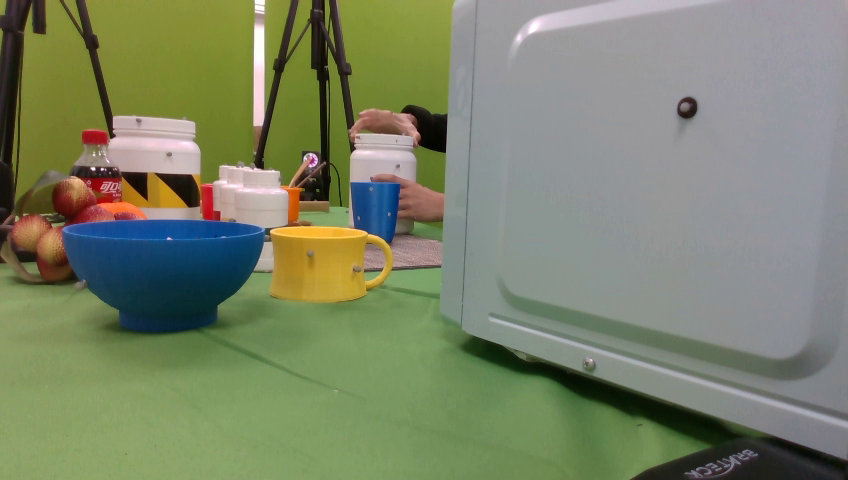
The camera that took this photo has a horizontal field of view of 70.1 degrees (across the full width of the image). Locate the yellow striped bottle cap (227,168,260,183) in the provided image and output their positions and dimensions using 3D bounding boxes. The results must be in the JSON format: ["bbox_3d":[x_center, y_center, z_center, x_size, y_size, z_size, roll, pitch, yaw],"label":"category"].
[{"bbox_3d":[-0.243,-0.087,0.818,0.044,0.018,0.044,3,6,0],"label":"yellow striped bottle cap"}]

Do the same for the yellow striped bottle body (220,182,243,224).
[{"bbox_3d":[-0.245,-0.036,0.825,0.063,0.120,0.063,3,8,0],"label":"yellow striped bottle body"}]

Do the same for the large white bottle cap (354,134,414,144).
[{"bbox_3d":[-0.077,-0.193,1.162,0.115,0.018,0.115,3,9,0],"label":"large white bottle cap"}]

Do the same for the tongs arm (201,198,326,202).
[{"bbox_3d":[-0.433,-0.090,1.507,0.390,0.028,0.028,-1,3,-29],"label":"tongs arm"}]

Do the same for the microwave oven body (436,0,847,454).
[{"bbox_3d":[0.279,-0.040,0.465,0.444,0.260,0.324,-3,9,-41],"label":"microwave oven body"}]

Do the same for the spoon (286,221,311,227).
[{"bbox_3d":[-0.232,-0.027,1.116,0.041,0.021,0.193,-22,6,4],"label":"spoon"}]

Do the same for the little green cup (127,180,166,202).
[{"bbox_3d":[-0.486,-0.086,1.061,0.061,0.038,0.061,1,7,0],"label":"little green cup"}]

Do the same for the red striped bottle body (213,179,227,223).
[{"bbox_3d":[-0.284,-0.048,0.910,0.063,0.119,0.063,3,12,0],"label":"red striped bottle body"}]

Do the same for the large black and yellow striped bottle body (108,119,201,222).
[{"bbox_3d":[-0.412,-0.088,0.930,0.131,0.184,0.130,3,7,0],"label":"large black and yellow striped bottle body"}]

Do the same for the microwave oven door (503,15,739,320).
[{"bbox_3d":[0.218,-0.065,0.600,0.358,0.243,0.039,-4,10,-41],"label":"microwave oven door"}]

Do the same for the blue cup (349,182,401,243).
[{"bbox_3d":[-0.082,-0.046,1.010,0.093,0.100,0.092,1,6,0],"label":"blue cup"}]

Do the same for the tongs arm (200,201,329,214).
[{"bbox_3d":[-0.378,-0.079,1.440,0.387,0.026,0.050,-4,8,-44],"label":"tongs arm"}]

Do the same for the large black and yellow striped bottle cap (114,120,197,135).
[{"bbox_3d":[-0.407,-0.171,0.920,0.115,0.019,0.115,2,9,0],"label":"large black and yellow striped bottle cap"}]

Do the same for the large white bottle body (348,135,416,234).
[{"bbox_3d":[-0.081,-0.110,1.174,0.131,0.184,0.130,2,8,0],"label":"large white bottle body"}]

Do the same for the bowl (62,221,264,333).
[{"bbox_3d":[-0.209,0.029,0.496,0.151,0.077,0.151,2,6,0],"label":"bowl"}]

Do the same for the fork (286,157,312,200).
[{"bbox_3d":[-0.290,-0.116,1.321,0.028,0.018,0.207,7,52,18],"label":"fork"}]

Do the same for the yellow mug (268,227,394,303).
[{"bbox_3d":[-0.094,0.023,0.629,0.131,0.064,0.099,0,7,-22],"label":"yellow mug"}]

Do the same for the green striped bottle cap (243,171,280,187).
[{"bbox_3d":[-0.198,-0.074,0.736,0.044,0.020,0.044,1,7,0],"label":"green striped bottle cap"}]

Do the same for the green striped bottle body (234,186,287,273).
[{"bbox_3d":[-0.200,-0.023,0.743,0.063,0.119,0.063,2,7,0],"label":"green striped bottle body"}]

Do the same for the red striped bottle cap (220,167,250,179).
[{"bbox_3d":[-0.281,-0.099,0.901,0.044,0.017,0.044,0,5,0],"label":"red striped bottle cap"}]

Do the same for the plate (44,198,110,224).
[{"bbox_3d":[-0.617,-0.056,1.179,0.209,0.038,0.209,3,7,0],"label":"plate"}]

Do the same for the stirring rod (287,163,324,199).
[{"bbox_3d":[-0.278,-0.105,1.293,0.176,0.006,0.014,-47,25,-18],"label":"stirring rod"}]

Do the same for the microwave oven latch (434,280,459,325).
[{"bbox_3d":[0.044,0.045,0.470,0.079,0.029,0.030,-2,8,-39],"label":"microwave oven latch"}]
